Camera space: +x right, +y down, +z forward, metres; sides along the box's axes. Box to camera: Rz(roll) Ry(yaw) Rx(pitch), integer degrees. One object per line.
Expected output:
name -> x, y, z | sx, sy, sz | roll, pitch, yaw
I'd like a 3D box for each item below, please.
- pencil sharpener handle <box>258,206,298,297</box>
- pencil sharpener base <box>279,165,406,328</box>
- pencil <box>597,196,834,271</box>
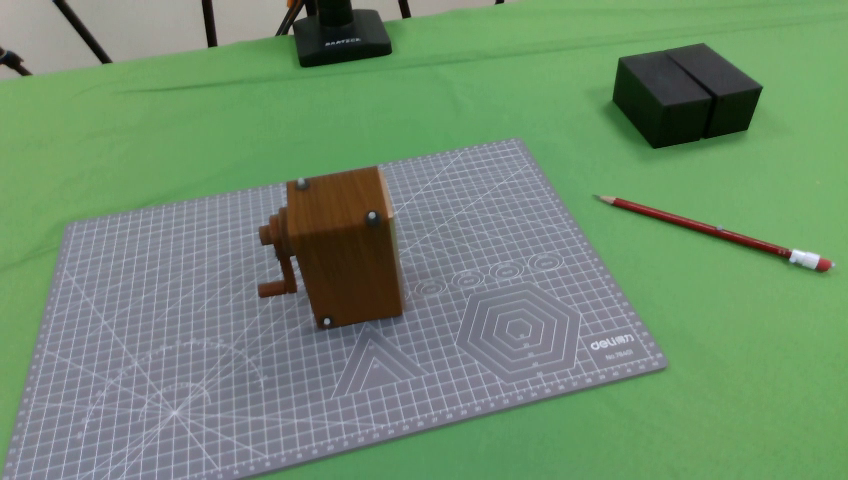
pencil sharpener handle -> -0.108, 0.010, 0.431 | 0.031, 0.068, 0.035 | -10, 28, -5
pencil sharpener base -> -0.058, 0.008, 0.448 | 0.077, 0.108, 0.060 | -10, 45, -5
pencil -> 0.241, -0.010, 0.519 | 0.192, 0.012, 0.012 | 21, 49, 26
